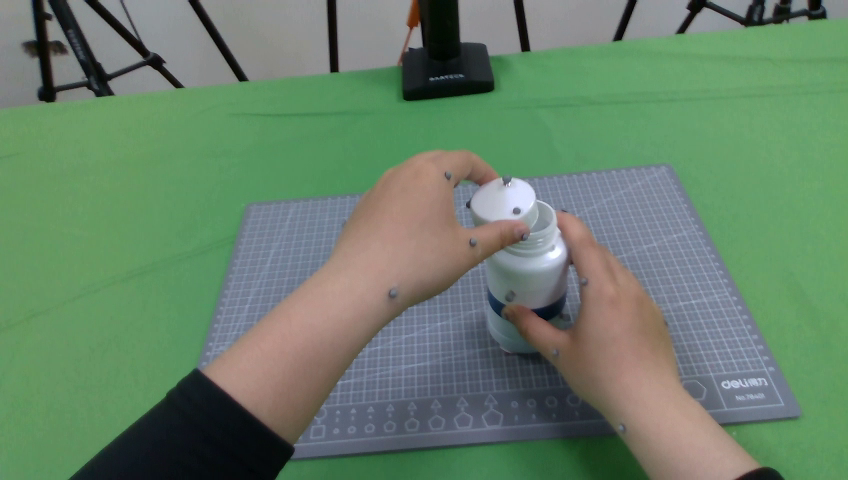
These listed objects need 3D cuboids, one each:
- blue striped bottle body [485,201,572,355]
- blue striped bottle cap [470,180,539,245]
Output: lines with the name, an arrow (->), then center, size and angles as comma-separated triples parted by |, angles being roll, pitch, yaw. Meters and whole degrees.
blue striped bottle body -> 0.078, 0.027, 0.457 | 0.063, 0.122, 0.062 | -4, 43, 4
blue striped bottle cap -> 0.053, -0.019, 0.399 | 0.044, 0.021, 0.044 | -9, 45, 10
